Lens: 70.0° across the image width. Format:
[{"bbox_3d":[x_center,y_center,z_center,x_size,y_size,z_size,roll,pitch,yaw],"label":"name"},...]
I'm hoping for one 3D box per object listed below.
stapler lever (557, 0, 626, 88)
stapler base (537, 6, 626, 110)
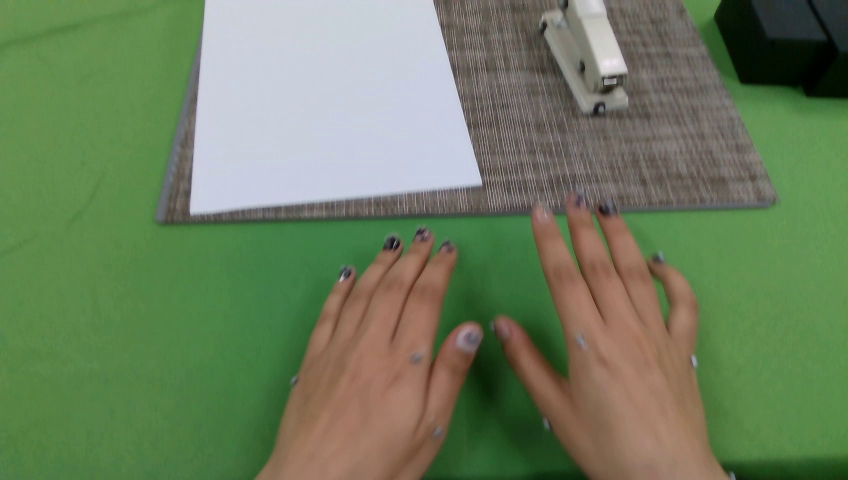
[{"bbox_3d":[0.137,-0.180,0.504,0.027,0.040,0.117,-11,59,-6],"label":"stapler lever"},{"bbox_3d":[0.136,-0.167,0.526,0.041,0.024,0.129,-11,59,-6],"label":"stapler base"}]
